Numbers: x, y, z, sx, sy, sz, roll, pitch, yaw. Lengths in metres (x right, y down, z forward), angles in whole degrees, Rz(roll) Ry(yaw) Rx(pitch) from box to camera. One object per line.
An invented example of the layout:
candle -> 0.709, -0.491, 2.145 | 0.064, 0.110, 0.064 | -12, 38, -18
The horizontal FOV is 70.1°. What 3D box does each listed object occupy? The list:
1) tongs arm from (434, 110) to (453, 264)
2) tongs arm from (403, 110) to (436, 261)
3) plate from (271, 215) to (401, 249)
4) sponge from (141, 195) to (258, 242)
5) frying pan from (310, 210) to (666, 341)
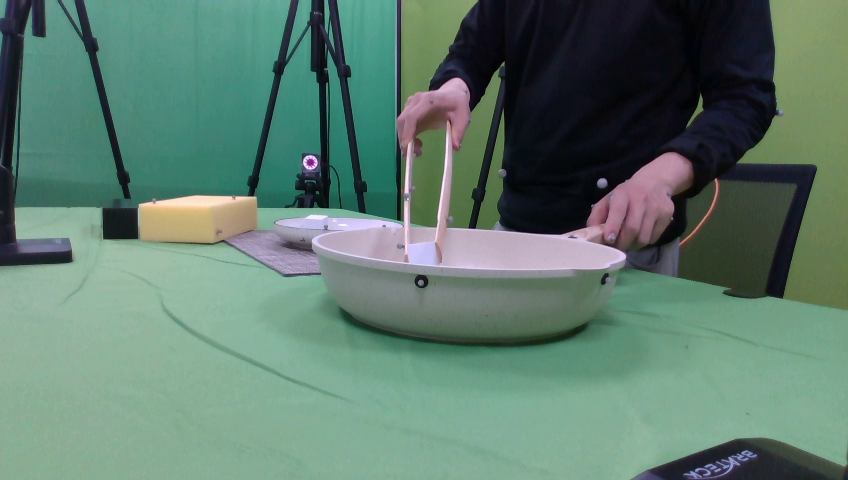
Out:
tongs arm -> 0.021, -0.083, 0.747 | 0.028, 0.028, 0.387 | -11, 31, 10
tongs arm -> -0.001, -0.081, 0.750 | 0.051, 0.026, 0.384 | -10, 31, 4
plate -> -0.141, -0.012, 0.978 | 0.208, 0.039, 0.207 | 3, 7, 0
sponge -> -0.380, -0.040, 1.047 | 0.118, 0.061, 0.207 | 1, 8, 3
frying pan -> 0.120, 0.011, 0.643 | 0.490, 0.102, 0.305 | -13, 16, -36
